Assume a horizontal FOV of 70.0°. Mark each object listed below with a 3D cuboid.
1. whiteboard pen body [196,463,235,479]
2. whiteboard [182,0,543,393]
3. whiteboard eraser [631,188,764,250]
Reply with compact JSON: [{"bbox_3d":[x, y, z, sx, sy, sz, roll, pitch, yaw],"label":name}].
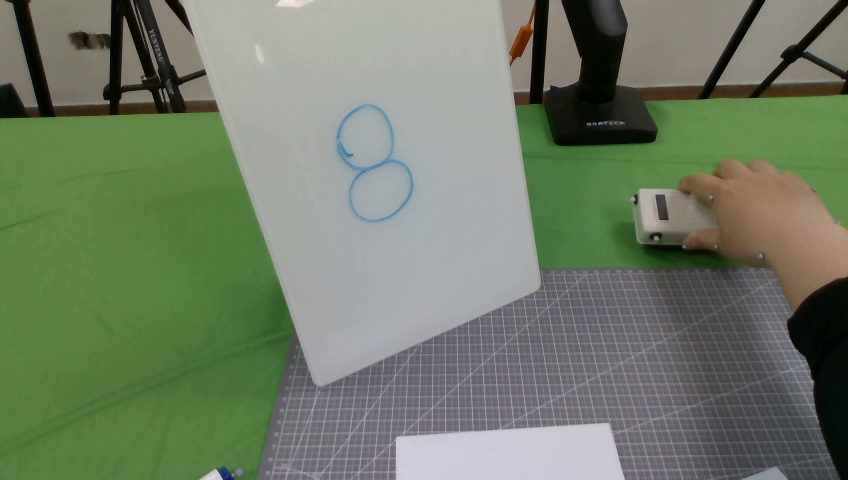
[{"bbox_3d":[-0.187,0.189,0.385,0.141,0.017,0.017,-29,48,-28],"label":"whiteboard pen body"},{"bbox_3d":[-0.047,-0.073,0.505,0.217,0.307,0.142,-21,24,-18],"label":"whiteboard"},{"bbox_3d":[0.259,-0.019,0.579,0.112,0.042,0.055,2,60,4],"label":"whiteboard eraser"}]
